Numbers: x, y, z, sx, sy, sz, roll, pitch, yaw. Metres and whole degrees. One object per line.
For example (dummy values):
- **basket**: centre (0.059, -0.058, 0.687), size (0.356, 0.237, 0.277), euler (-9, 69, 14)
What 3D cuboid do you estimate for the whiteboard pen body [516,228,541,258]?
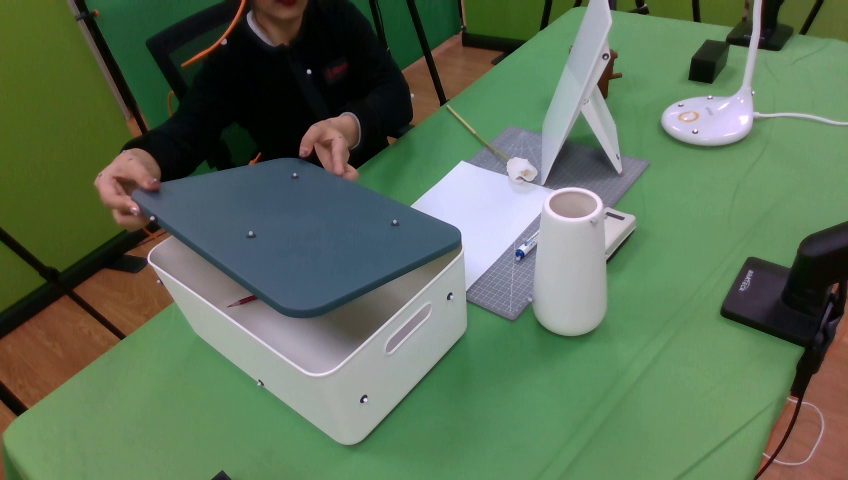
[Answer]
- **whiteboard pen body**: centre (0.192, -0.015, 0.964), size (0.017, 0.017, 0.141), euler (26, 51, 34)

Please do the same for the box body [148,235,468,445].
- **box body**: centre (-0.147, 0.072, 0.816), size (0.361, 0.161, 0.255), euler (24, 50, 33)

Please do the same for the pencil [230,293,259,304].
- **pencil**: centre (-0.210, 0.067, 0.943), size (0.194, 0.012, 0.012), euler (-20, 41, -9)

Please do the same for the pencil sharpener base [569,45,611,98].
- **pencil sharpener base**: centre (0.346, -0.352, 1.262), size (0.077, 0.107, 0.061), euler (-10, 40, -1)

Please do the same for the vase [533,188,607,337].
- **vase**: centre (0.187, 0.033, 0.771), size (0.098, 0.201, 0.097), euler (-6, 41, 6)

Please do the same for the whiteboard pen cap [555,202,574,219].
- **whiteboard pen cap**: centre (0.230, -0.048, 0.994), size (0.018, 0.018, 0.033), euler (26, 54, 34)

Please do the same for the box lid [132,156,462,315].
- **box lid**: centre (-0.164, -0.028, 0.758), size (0.368, 0.015, 0.265), euler (26, 33, 35)

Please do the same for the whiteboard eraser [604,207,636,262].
- **whiteboard eraser**: centre (0.272, -0.003, 0.919), size (0.055, 0.042, 0.113), euler (27, 51, 32)

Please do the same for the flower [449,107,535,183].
- **flower**: centre (0.118, -0.202, 1.201), size (0.044, 0.038, 0.358), euler (-23, 37, -8)

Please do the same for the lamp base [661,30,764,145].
- **lamp base**: centre (0.535, -0.287, 1.096), size (0.179, 0.181, 0.159), euler (-10, 40, -4)

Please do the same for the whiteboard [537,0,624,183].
- **whiteboard**: centre (0.316, -0.256, 1.047), size (0.144, 0.306, 0.216), euler (15, 42, -1)

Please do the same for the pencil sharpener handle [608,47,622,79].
- **pencil sharpener handle**: centre (0.395, -0.369, 1.254), size (0.031, 0.068, 0.036), euler (-10, 32, -1)
